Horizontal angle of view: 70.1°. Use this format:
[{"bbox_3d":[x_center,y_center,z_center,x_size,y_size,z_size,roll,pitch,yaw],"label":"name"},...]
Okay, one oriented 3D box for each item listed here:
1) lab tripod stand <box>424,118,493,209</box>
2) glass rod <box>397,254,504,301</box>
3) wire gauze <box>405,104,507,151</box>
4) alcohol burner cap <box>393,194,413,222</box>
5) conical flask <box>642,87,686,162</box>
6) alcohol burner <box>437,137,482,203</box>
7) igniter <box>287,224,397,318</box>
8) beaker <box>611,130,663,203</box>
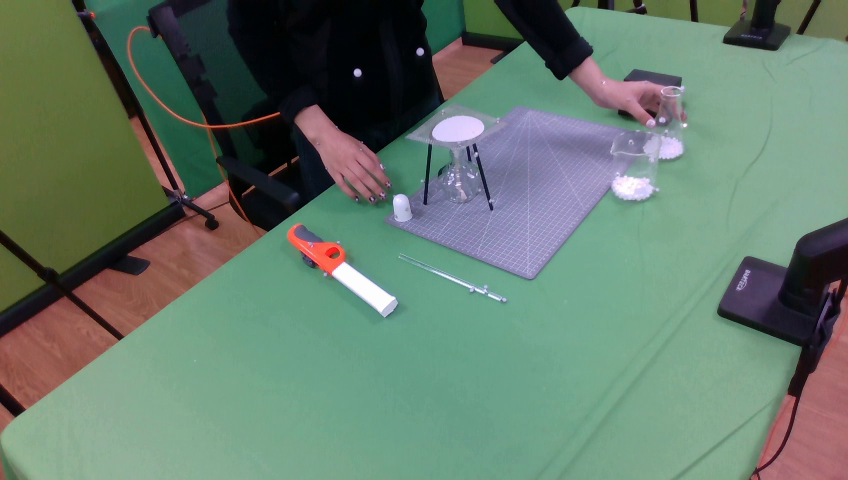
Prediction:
[{"bbox_3d":[0.061,-0.133,1.038,0.148,0.132,0.147,-6,38,6],"label":"lab tripod stand"},{"bbox_3d":[0.036,0.054,0.922,0.198,0.008,0.008,22,50,31],"label":"glass rod"},{"bbox_3d":[0.053,-0.184,0.996,0.120,0.011,0.125,26,50,37],"label":"wire gauze"},{"bbox_3d":[-0.039,-0.057,1.039,0.034,0.048,0.033,-6,40,5],"label":"alcohol burner cap"},{"bbox_3d":[0.429,-0.206,1.067,0.075,0.122,0.075,-6,40,5],"label":"conical flask"},{"bbox_3d":[0.060,-0.125,1.045,0.078,0.119,0.077,-5,39,4],"label":"alcohol burner"},{"bbox_3d":[-0.139,0.042,0.957,0.057,0.025,0.274,-41,49,-18],"label":"igniter"},{"bbox_3d":[0.346,-0.118,0.998,0.084,0.101,0.073,-17,40,-7],"label":"beaker"}]
